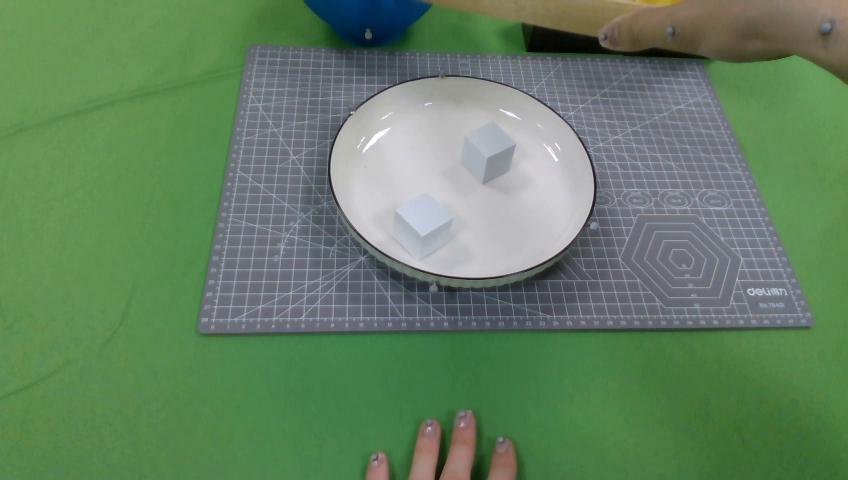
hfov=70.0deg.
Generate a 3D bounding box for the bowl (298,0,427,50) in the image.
[{"bbox_3d":[-0.056,-0.238,0.582,0.151,0.077,0.150,2,55,-3],"label":"bowl"}]

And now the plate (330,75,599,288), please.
[{"bbox_3d":[0.031,-0.048,0.482,0.208,0.039,0.205,2,56,-3],"label":"plate"}]

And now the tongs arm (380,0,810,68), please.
[{"bbox_3d":[0.052,-0.167,0.421,0.384,0.028,0.028,27,56,38],"label":"tongs arm"}]

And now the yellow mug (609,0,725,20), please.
[{"bbox_3d":[0.228,-0.251,0.563,0.131,0.064,0.099,-14,58,-13],"label":"yellow mug"}]

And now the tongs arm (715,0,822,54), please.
[{"bbox_3d":[0.095,-0.202,0.440,0.051,0.027,0.380,-38,47,-19],"label":"tongs arm"}]
